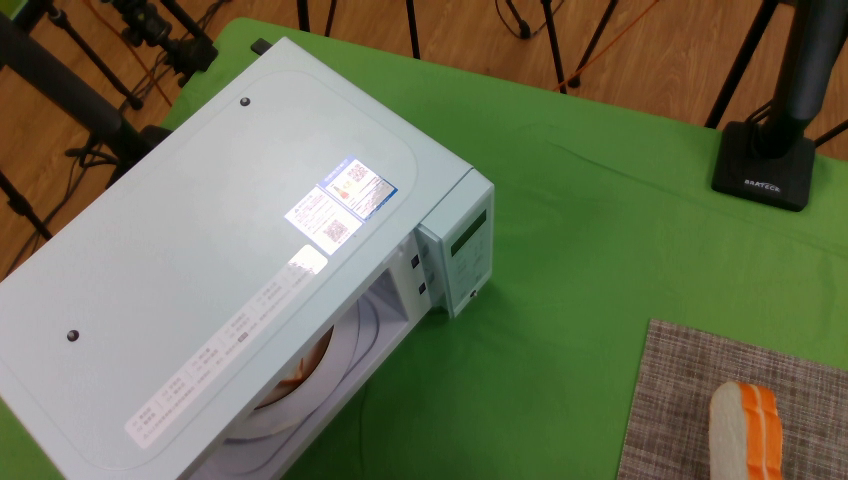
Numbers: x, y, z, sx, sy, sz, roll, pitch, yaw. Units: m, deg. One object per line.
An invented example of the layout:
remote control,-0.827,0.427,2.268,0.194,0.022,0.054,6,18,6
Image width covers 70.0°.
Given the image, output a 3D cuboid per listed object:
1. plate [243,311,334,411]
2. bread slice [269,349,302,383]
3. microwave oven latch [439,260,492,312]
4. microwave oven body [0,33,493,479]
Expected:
plate,-0.210,0.102,0.722,0.208,0.039,0.206,0,63,0
bread slice,-0.211,0.127,0.718,0.134,0.018,0.106,-9,62,-9
microwave oven latch,0.053,0.051,0.763,0.030,0.030,0.079,39,75,19
microwave oven body,-0.184,0.053,0.678,0.324,0.262,0.441,37,75,19
